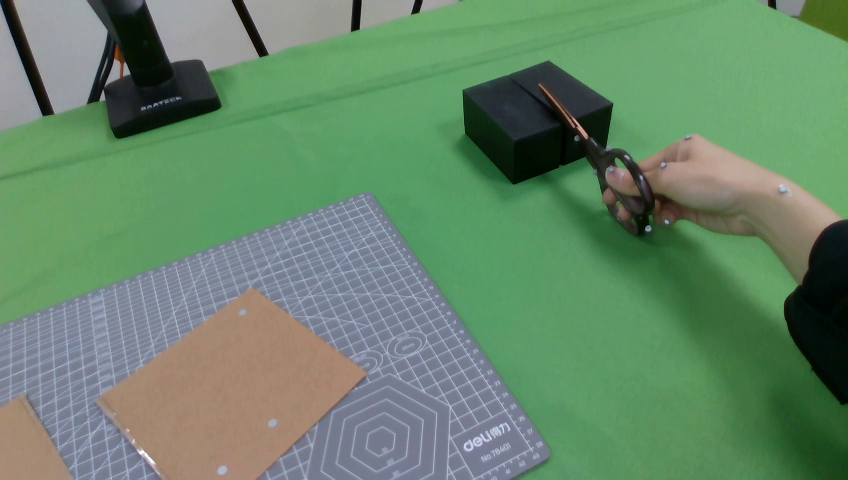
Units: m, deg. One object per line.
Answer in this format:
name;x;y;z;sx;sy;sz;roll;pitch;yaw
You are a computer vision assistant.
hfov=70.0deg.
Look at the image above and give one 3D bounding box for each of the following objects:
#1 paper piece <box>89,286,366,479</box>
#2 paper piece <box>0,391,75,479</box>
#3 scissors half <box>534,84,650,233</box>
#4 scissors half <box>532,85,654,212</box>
paper piece;-0.135;0.101;0.421;0.135;0.009;0.138;33;55;28
paper piece;-0.287;0.173;0.364;0.135;0.004;0.134;-36;51;-28
scissors half;0.139;-0.075;0.526;0.013;0.040;0.173;-25;66;-8
scissors half;0.135;-0.086;0.510;0.013;0.040;0.173;-28;49;-4
